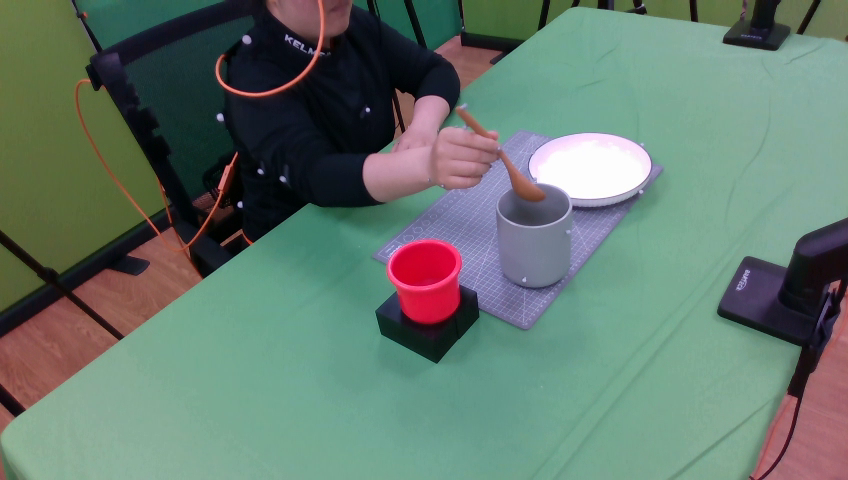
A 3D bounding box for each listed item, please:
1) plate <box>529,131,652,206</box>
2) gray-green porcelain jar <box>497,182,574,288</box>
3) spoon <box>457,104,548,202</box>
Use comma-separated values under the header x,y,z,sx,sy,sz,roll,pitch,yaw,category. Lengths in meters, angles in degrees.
x,y,z,sx,sy,sz,roll,pitch,yaw,category
0.287,-0.122,1.056,0.207,0.039,0.206,-5,40,5,plate
0.161,-0.003,0.869,0.106,0.127,0.105,-5,40,5,gray-green porcelain jar
0.101,-0.108,0.778,0.041,0.195,0.021,-3,51,47,spoon
